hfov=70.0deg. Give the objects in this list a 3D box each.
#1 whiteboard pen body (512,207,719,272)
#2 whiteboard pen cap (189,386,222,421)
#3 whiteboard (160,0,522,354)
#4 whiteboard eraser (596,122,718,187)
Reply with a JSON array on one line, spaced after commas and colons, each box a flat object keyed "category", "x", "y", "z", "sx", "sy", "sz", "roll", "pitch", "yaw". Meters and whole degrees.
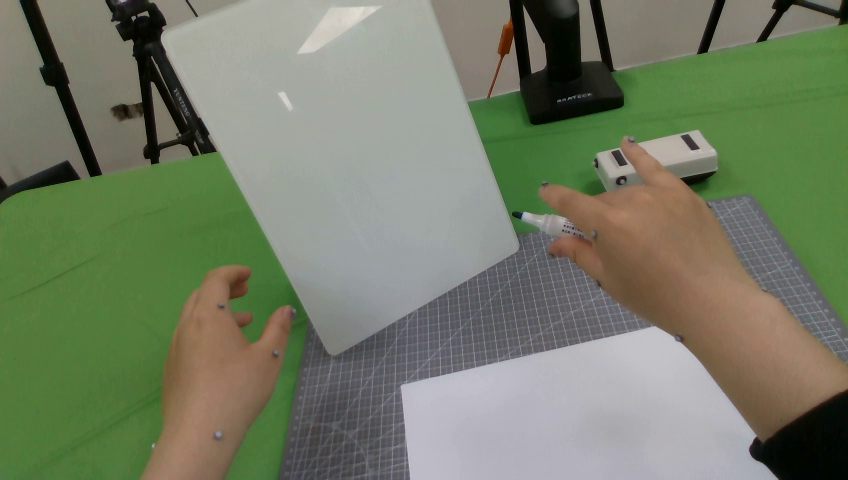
[{"category": "whiteboard pen body", "x": 0.128, "y": -0.003, "z": 0.416, "sx": 0.140, "sy": 0.017, "sz": 0.017, "roll": 16, "pitch": 48, "yaw": 11}, {"category": "whiteboard pen cap", "x": -0.188, "y": 0.141, "z": 0.522, "sx": 0.018, "sy": 0.033, "sz": 0.018, "roll": -7, "pitch": 42, "yaw": 7}, {"category": "whiteboard", "x": -0.073, "y": -0.091, "z": 0.586, "sx": 0.217, "sy": 0.307, "sz": 0.142, "roll": -29, "pitch": 21, "yaw": -14}, {"category": "whiteboard eraser", "x": 0.243, "y": -0.087, "z": 0.636, "sx": 0.112, "sy": 0.042, "sz": 0.055, "roll": -12, "pitch": 42, "yaw": 4}]
